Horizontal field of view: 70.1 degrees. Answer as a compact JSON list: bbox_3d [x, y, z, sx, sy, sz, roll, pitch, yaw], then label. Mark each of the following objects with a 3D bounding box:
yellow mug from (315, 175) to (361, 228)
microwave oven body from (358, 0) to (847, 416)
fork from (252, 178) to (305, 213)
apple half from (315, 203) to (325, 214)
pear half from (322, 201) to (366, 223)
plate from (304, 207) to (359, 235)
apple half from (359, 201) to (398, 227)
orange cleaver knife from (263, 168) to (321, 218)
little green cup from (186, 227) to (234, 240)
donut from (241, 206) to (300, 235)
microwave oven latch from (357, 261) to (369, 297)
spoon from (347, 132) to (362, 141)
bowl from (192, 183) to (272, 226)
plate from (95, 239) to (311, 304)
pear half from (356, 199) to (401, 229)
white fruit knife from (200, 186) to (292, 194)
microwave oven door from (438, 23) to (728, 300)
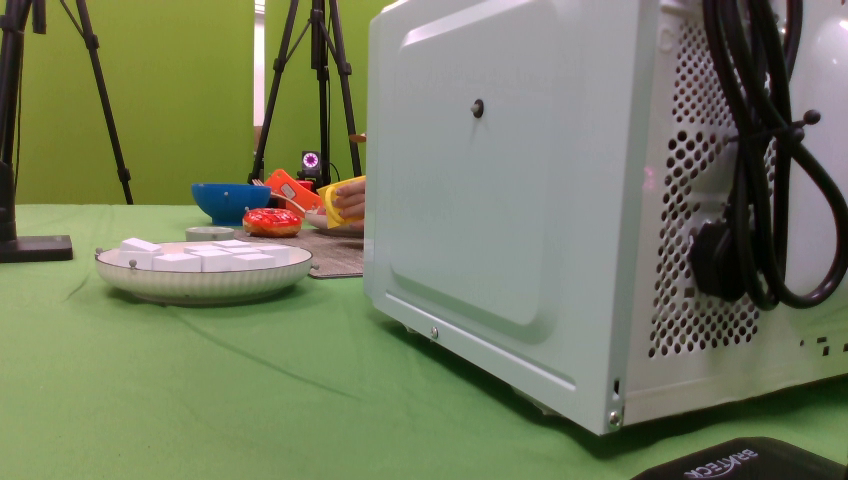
[{"bbox_3d":[-0.122,-0.062,0.953,0.099,0.064,0.131,-15,5,22],"label":"yellow mug"},{"bbox_3d":[0.211,-0.047,0.474,0.444,0.260,0.324,-1,7,-28],"label":"microwave oven body"},{"bbox_3d":[-0.295,-0.084,1.292,0.206,0.018,0.028,29,11,25],"label":"fork"},{"bbox_3d":[-0.162,-0.052,1.121,0.081,0.053,0.074,4,7,-14],"label":"apple half"},{"bbox_3d":[-0.157,-0.059,1.197,0.088,0.031,0.070,12,30,-4],"label":"pear half"},{"bbox_3d":[-0.123,-0.037,1.149,0.209,0.038,0.209,2,7,0],"label":"plate"},{"bbox_3d":[-0.088,-0.058,1.190,0.081,0.033,0.081,9,29,-5],"label":"apple half"},{"bbox_3d":[-0.262,-0.088,1.353,0.211,0.077,0.012,28,13,-1],"label":"orange cleaver knife"},{"bbox_3d":[-0.284,0.005,0.805,0.061,0.038,0.061,2,8,0],"label":"little green cup"},{"bbox_3d":[-0.263,-0.032,1.039,0.099,0.048,0.099,4,10,0],"label":"donut"},{"bbox_3d":[-0.019,0.033,0.531,0.079,0.029,0.030,-1,7,-27],"label":"microwave oven latch"},{"bbox_3d":[-0.118,-0.237,1.320,0.041,0.021,0.194,1,19,16],"label":"spoon"},{"bbox_3d":[-0.381,-0.071,1.202,0.151,0.077,0.151,3,7,0],"label":"bowl"},{"bbox_3d":[-0.224,0.031,0.629,0.208,0.039,0.207,2,8,0],"label":"plate"},{"bbox_3d":[-0.075,-0.046,1.132,0.076,0.056,0.110,13,5,31],"label":"pear half"},{"bbox_3d":[-0.399,-0.111,1.368,0.208,0.016,0.027,-4,-19,-30],"label":"white fruit knife"},{"bbox_3d":[0.181,-0.072,0.621,0.358,0.243,0.039,-2,8,-29],"label":"microwave oven door"}]
